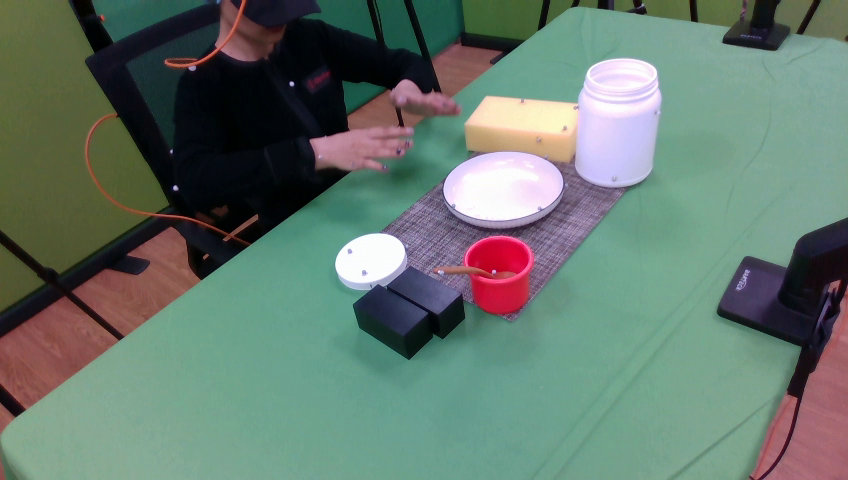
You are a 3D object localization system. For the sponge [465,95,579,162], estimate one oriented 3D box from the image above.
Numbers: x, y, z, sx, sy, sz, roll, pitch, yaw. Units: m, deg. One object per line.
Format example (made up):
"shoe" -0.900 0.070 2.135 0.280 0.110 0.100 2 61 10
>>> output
"sponge" 0.197 -0.218 1.167 0.206 0.061 0.118 11 44 22

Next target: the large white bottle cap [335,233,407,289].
"large white bottle cap" -0.085 0.032 0.961 0.115 0.018 0.114 -6 42 6

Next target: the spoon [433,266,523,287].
"spoon" 0.074 0.045 0.815 0.041 0.021 0.195 33 12 38

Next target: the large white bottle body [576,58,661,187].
"large white bottle body" 0.326 -0.197 1.021 0.130 0.185 0.130 -5 40 5

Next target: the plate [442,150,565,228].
"plate" 0.136 -0.085 1.039 0.209 0.038 0.208 -5 40 5
